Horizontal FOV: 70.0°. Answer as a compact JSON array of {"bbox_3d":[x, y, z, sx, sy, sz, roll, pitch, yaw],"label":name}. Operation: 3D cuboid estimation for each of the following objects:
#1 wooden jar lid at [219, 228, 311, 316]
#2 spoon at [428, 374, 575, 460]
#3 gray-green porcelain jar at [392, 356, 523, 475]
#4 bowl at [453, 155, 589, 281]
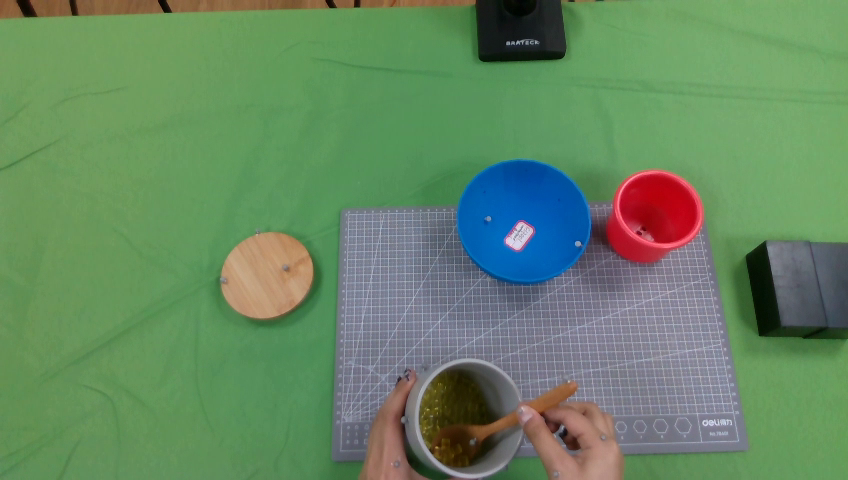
[{"bbox_3d":[-0.188,0.039,0.724,0.108,0.021,0.107,-1,69,2],"label":"wooden jar lid"},{"bbox_3d":[0.068,0.168,0.567,0.041,0.194,0.021,54,42,5],"label":"spoon"},{"bbox_3d":[0.026,0.173,0.603,0.106,0.126,0.105,4,74,-13],"label":"gray-green porcelain jar"},{"bbox_3d":[0.108,-0.015,0.705,0.151,0.077,0.150,0,69,1],"label":"bowl"}]
